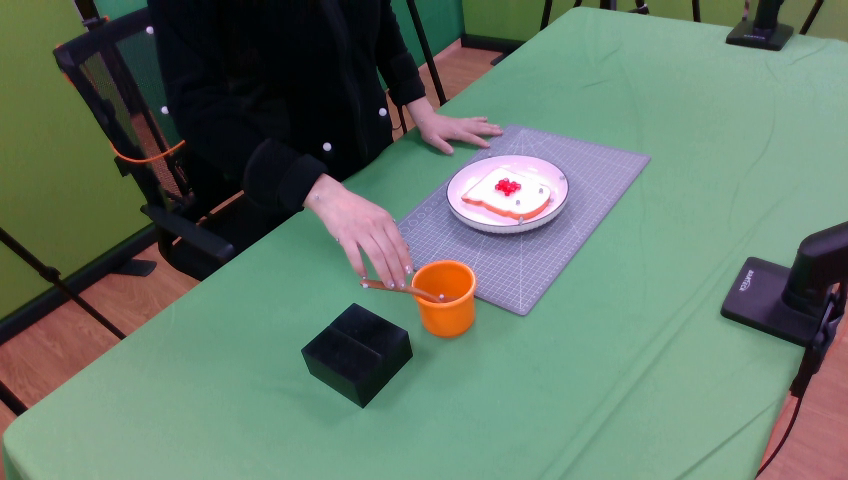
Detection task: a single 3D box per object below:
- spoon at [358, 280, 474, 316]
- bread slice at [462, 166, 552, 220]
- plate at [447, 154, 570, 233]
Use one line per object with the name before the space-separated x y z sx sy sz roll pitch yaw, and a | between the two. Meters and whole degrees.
spoon | -0.007 0.073 0.803 0.021 0.195 0.041 -55 41 16
bread slice | 0.150 -0.079 1.036 0.133 0.018 0.107 22 50 31
plate | 0.143 -0.076 1.032 0.209 0.038 0.208 -5 40 5
